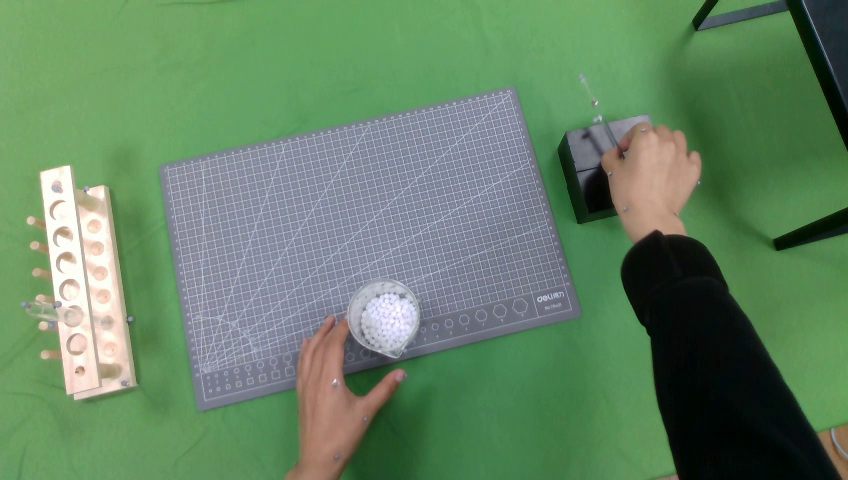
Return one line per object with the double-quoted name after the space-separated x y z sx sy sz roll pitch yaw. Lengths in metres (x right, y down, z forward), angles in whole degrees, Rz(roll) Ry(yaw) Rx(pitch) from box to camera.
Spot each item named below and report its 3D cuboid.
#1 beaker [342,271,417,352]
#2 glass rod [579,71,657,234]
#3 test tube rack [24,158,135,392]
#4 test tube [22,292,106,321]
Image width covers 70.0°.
-0.043 0.082 0.654 0.074 0.100 0.083 -18 79 -3 "beaker"
0.215 -0.098 0.675 0.008 0.008 0.199 -24 88 -5 "glass rod"
-0.389 0.042 0.670 0.067 0.085 0.241 -13 79 -3 "test tube rack"
-0.359 0.070 0.613 0.017 0.150 0.017 1 78 -6 "test tube"
